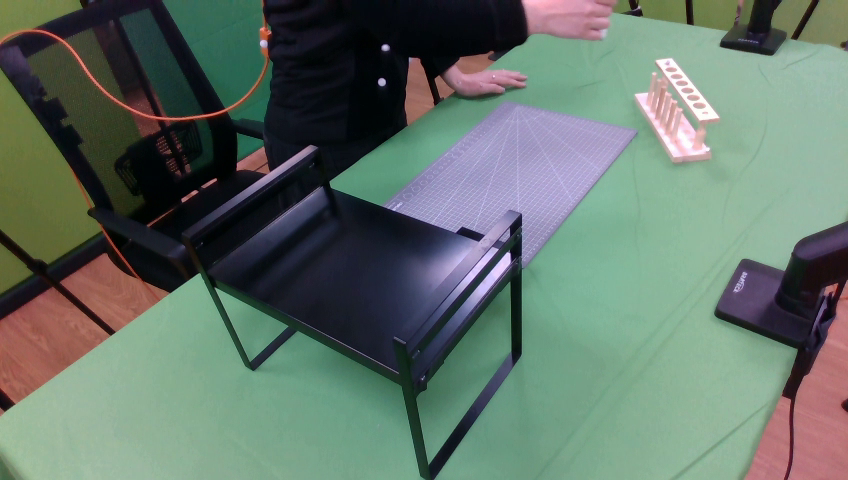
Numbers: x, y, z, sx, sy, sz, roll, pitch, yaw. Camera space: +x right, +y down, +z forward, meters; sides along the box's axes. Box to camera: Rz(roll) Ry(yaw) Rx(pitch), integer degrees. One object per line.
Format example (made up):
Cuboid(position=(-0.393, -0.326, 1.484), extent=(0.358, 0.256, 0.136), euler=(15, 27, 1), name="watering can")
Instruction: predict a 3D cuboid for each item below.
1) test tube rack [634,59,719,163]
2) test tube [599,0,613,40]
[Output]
Cuboid(position=(0.470, -0.250, 1.148), extent=(0.067, 0.085, 0.241), euler=(-6, 40, 3), name="test tube rack")
Cuboid(position=(0.302, -0.384, 1.001), extent=(0.017, 0.151, 0.017), euler=(-4, 68, 10), name="test tube")
